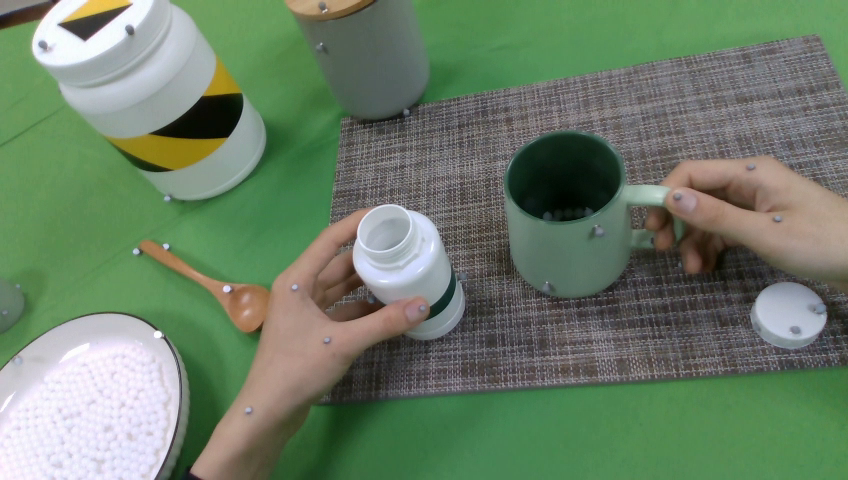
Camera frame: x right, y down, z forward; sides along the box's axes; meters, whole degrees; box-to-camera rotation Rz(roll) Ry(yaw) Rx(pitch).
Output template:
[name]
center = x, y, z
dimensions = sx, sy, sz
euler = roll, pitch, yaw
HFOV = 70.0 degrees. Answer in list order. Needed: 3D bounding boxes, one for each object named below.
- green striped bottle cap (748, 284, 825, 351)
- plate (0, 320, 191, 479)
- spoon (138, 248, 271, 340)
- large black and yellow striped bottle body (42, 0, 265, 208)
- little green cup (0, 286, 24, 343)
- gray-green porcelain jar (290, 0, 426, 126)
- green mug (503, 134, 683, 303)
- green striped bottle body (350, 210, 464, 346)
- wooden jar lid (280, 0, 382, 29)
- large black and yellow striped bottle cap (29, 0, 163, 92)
[green striped bottle cap]
center = 0.247, 0.052, 0.414
dimensions = 0.044, 0.020, 0.044
euler = -7, 53, 10
[plate]
center = -0.279, 0.166, 0.488
dimensions = 0.209, 0.038, 0.207
euler = -7, 57, 12
[spoon]
center = -0.206, 0.040, 0.554
dimensions = 0.192, 0.022, 0.041
euler = 23, 86, 27
[large black and yellow striped bottle body]
center = -0.250, -0.129, 0.574
dimensions = 0.130, 0.186, 0.129
euler = -7, 58, 12
[little green cup]
center = -0.428, 0.072, 0.590
dimensions = 0.061, 0.039, 0.061
euler = -7, 57, 11
[gray-green porcelain jar]
center = -0.058, -0.183, 0.583
dimensions = 0.105, 0.128, 0.105
euler = -8, 53, 11
[green mug]
center = 0.119, -0.013, 0.437
dimensions = 0.125, 0.106, 0.092
euler = 1, 59, 17
[green striped bottle body]
center = -0.012, 0.027, 0.441
dimensions = 0.063, 0.120, 0.062
euler = -8, 57, 12
[wooden jar lid]
center = -0.074, -0.219, 0.534
dimensions = 0.108, 0.021, 0.107
euler = -10, 55, 14
[large black and yellow striped bottle cap]
center = -0.272, -0.171, 0.504
dimensions = 0.115, 0.019, 0.114
euler = -7, 56, 11
